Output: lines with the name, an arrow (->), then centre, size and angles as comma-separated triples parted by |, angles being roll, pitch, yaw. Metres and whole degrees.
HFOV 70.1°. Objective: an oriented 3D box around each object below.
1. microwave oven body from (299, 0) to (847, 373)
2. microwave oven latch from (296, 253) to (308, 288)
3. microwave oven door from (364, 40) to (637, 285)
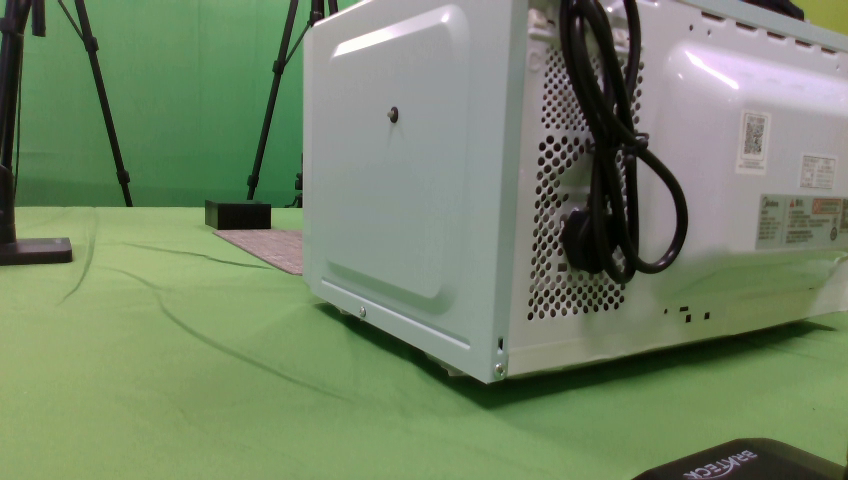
microwave oven body -> 0.151, -0.055, 0.542 | 0.444, 0.260, 0.324 | -2, 7, -32
microwave oven latch -> -0.081, 0.028, 0.574 | 0.079, 0.029, 0.030 | 1, 6, -16
microwave oven door -> 0.105, -0.081, 0.694 | 0.358, 0.243, 0.039 | -2, 9, -30
